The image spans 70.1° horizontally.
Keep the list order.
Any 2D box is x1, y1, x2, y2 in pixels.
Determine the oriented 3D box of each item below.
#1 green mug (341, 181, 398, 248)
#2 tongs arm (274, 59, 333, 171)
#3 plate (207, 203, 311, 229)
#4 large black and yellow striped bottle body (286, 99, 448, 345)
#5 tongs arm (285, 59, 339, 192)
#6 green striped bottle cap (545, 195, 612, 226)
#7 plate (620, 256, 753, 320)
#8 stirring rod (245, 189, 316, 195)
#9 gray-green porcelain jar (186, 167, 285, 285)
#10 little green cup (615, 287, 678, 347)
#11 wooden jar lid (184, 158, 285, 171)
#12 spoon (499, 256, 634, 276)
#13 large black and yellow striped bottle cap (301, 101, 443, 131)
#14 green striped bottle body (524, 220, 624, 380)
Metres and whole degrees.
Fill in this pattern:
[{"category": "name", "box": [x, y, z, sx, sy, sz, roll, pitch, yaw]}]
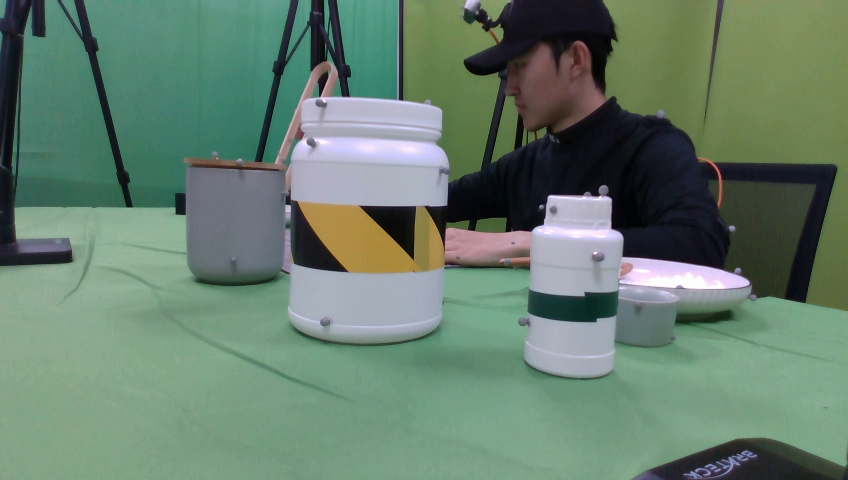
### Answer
[{"category": "green mug", "box": [-0.089, -0.044, 0.997, 0.093, 0.105, 0.125, 1, 7, -8]}, {"category": "tongs arm", "box": [-0.282, -0.257, 1.376, 0.050, 0.384, 0.026, 0, -29, 26]}, {"category": "plate", "box": [-0.342, -0.050, 1.259, 0.208, 0.039, 0.207, 3, 7, 0]}, {"category": "large black and yellow striped bottle body", "box": [-0.047, -0.018, 0.501, 0.131, 0.184, 0.130, 2, 7, 0]}, {"category": "tongs arm", "box": [-0.261, -0.255, 1.365, 0.028, 0.387, 0.028, 3, -28, 31]}, {"category": "green striped bottle cap", "box": [0.106, -0.020, 0.414, 0.044, 0.020, 0.044, 2, 4, 0]}, {"category": "plate", "box": [0.234, 0.049, 0.651, 0.209, 0.038, 0.209, 2, 7, 0]}, {"category": "stirring rod", "box": [-0.350, -0.119, 1.489, 0.177, 0.014, 0.006, -2, 4, -28]}, {"category": "gray-green porcelain jar", "box": [-0.212, -0.017, 0.682, 0.106, 0.126, 0.106, 2, 7, 0]}, {"category": "little green cup", "box": [0.180, 0.064, 0.506, 0.061, 0.038, 0.061, 1, 8, 0]}, {"category": "wooden jar lid", "box": [-0.210, -0.078, 0.674, 0.108, 0.020, 0.108, 5, 6, 0]}, {"category": "spoon", "box": [0.162, 0.027, 0.679, 0.195, 0.021, 0.041, 8, 3, -30]}, {"category": "large black and yellow striped bottle cap", "box": [-0.042, -0.099, 0.491, 0.115, 0.019, 0.115, 1, 8, 0]}, {"category": "green striped bottle body", "box": [0.104, 0.031, 0.422, 0.063, 0.119, 0.063, 2, 8, 0]}]
